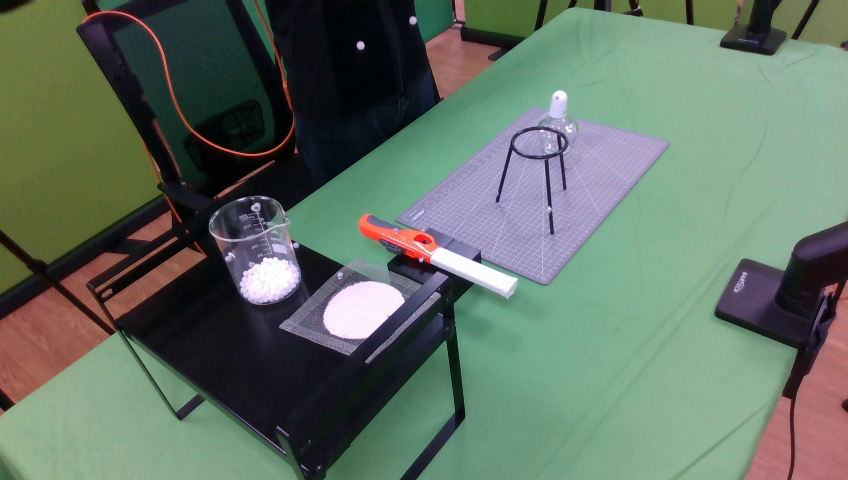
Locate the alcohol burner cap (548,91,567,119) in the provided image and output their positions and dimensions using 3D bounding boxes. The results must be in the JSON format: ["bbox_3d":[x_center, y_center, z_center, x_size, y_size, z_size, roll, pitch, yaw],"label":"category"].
[{"bbox_3d":[0.245,-0.247,1.098,0.034,0.048,0.033,-1,46,2],"label":"alcohol burner cap"}]

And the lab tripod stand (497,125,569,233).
[{"bbox_3d":[0.189,-0.104,0.979,0.148,0.132,0.147,-3,41,3],"label":"lab tripod stand"}]

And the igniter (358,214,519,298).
[{"bbox_3d":[0.009,0.018,0.876,0.274,0.025,0.057,23,46,28],"label":"igniter"}]

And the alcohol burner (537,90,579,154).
[{"bbox_3d":[0.248,-0.220,1.121,0.078,0.119,0.077,-5,39,5],"label":"alcohol burner"}]

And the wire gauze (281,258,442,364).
[{"bbox_3d":[-0.065,0.071,0.633,0.120,0.011,0.125,19,45,31],"label":"wire gauze"}]

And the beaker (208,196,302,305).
[{"bbox_3d":[-0.173,0.014,0.647,0.084,0.101,0.073,-1,41,8],"label":"beaker"}]
